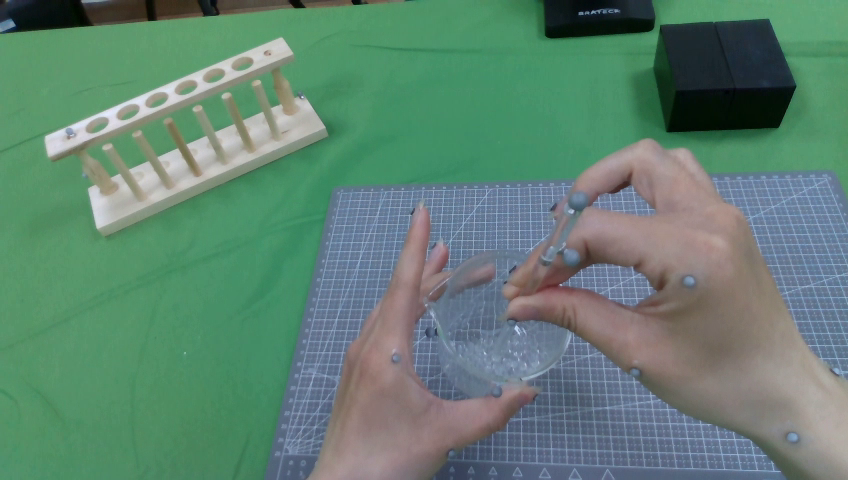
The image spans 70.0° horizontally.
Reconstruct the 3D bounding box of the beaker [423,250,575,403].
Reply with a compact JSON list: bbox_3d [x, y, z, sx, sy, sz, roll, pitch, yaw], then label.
[{"bbox_3d":[0.041,0.058,0.371,0.084,0.101,0.073,12,68,6],"label":"beaker"}]

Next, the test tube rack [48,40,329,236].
[{"bbox_3d":[-0.227,-0.103,0.605,0.242,0.086,0.066,-26,53,-11],"label":"test tube rack"}]

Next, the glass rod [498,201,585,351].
[{"bbox_3d":[0.049,0.028,0.285,0.008,0.201,0.008,0,67,0],"label":"glass rod"}]
